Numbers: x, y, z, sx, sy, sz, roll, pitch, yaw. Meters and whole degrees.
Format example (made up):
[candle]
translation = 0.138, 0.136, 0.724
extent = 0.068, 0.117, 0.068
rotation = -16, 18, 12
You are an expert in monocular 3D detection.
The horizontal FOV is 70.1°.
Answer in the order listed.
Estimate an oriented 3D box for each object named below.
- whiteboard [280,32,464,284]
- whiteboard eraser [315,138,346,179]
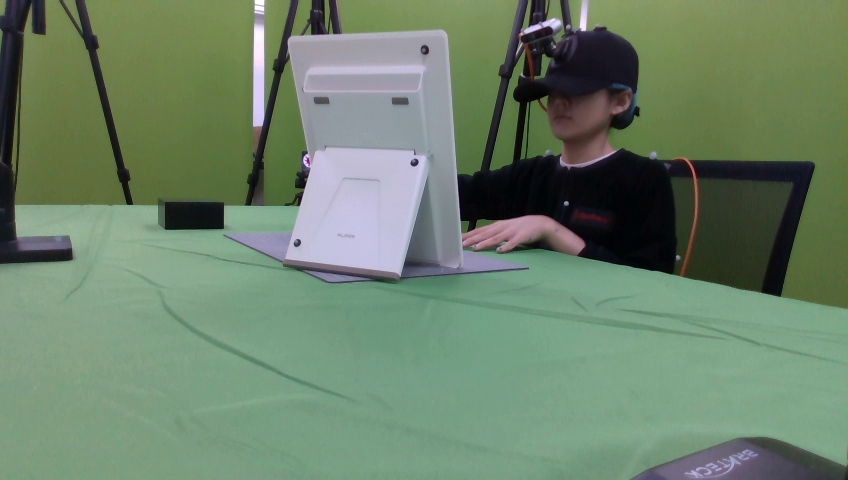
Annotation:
[whiteboard]
translation = -0.087, -0.080, 0.728
extent = 0.216, 0.305, 0.144
rotation = 7, 28, 24
[whiteboard eraser]
translation = -0.168, -0.147, 1.089
extent = 0.041, 0.019, 0.101
rotation = 16, -26, 15
